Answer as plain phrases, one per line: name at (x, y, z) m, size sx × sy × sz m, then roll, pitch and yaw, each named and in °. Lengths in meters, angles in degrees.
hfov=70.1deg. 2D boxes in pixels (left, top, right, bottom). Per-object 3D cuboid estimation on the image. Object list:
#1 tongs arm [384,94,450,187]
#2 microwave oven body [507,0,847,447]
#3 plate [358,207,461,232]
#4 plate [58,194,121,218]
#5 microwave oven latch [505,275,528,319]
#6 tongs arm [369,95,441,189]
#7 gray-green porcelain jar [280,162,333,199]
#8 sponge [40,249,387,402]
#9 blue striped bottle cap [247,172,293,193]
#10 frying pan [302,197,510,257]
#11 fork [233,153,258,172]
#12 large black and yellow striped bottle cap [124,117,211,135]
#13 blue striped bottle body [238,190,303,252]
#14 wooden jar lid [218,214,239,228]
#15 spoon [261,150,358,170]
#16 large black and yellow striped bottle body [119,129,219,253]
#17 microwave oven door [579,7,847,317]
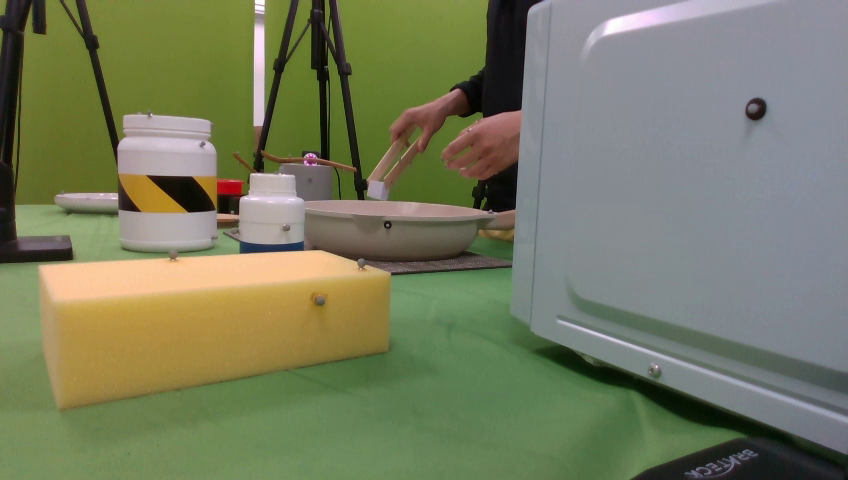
tongs arm at (-0.016, -0.224, 1.302) m, size 0.050 × 0.026 × 0.385 m, roll -2°, pitch 35°, yaw 31°
microwave oven body at (0.331, -0.042, 0.425) m, size 0.444 × 0.260 × 0.324 m, roll -2°, pitch 8°, yaw -31°
plate at (-0.029, -0.041, 1.213) m, size 0.208 × 0.039 × 0.207 m, roll 3°, pitch 6°, yaw 0°
plate at (-0.671, -0.074, 1.310) m, size 0.209 × 0.038 × 0.209 m, roll 2°, pitch 8°, yaw 0°
microwave oven latch at (0.100, 0.041, 0.471) m, size 0.079 × 0.029 × 0.030 m, roll -1°, pitch 7°, yaw -28°
tongs arm at (-0.037, -0.222, 1.313) m, size 0.028 × 0.028 × 0.388 m, roll -8°, pitch 32°, yaw 29°
gray-green porcelain jar at (-0.238, -0.092, 1.221) m, size 0.106 × 0.126 × 0.106 m, roll 2°, pitch 7°, yaw 0°
sponge at (-0.142, 0.047, 0.420) m, size 0.208 × 0.061 × 0.117 m, roll -3°, pitch 8°, yaw -36°
blue striped bottle cap at (-0.152, -0.057, 0.598) m, size 0.044 × 0.020 × 0.044 m, roll 3°, pitch 7°, yaw 0°
frying pan at (0.050, -0.035, 0.915) m, size 0.487 × 0.102 × 0.307 m, roll -5°, pitch 7°, yaw 10°
fork at (-0.396, -0.143, 1.486) m, size 0.028 × 0.018 × 0.208 m, roll 21°, pitch -25°, yaw 45°
large black and yellow striped bottle cap at (-0.366, -0.163, 0.866) m, size 0.115 × 0.019 × 0.115 m, roll 3°, pitch 7°, yaw 0°
blue striped bottle body at (-0.153, -0.007, 0.606) m, size 0.063 × 0.120 × 0.063 m, roll 2°, pitch 7°, yaw 0°
wooden jar lid at (-0.404, -0.037, 1.169) m, size 0.108 × 0.020 × 0.108 m, roll 3°, pitch 7°, yaw 0°
spoon at (-0.229, -0.162, 1.222) m, size 0.194 × 0.021 × 0.041 m, roll 3°, pitch 3°, yaw -16°
large black and yellow striped bottle body at (-0.367, -0.080, 0.876) m, size 0.131 × 0.184 × 0.130 m, roll 1°, pitch 7°, yaw 0°
microwave oven door at (0.294, -0.067, 0.570) m, size 0.358 × 0.243 × 0.039 m, roll -3°, pitch 9°, yaw -31°
